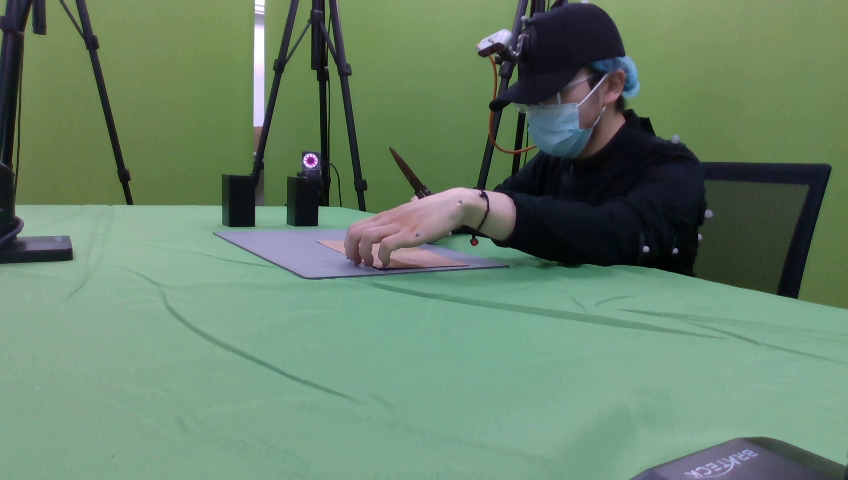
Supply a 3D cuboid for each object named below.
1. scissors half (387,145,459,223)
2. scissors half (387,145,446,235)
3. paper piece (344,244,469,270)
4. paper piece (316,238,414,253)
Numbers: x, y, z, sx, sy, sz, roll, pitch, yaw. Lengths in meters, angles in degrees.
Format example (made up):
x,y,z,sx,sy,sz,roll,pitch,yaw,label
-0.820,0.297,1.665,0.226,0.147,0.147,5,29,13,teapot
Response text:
x,y,z,sx,sy,sz,roll,pitch,yaw,label
-0.001,-0.095,1.010,0.176,0.040,0.013,44,-13,-21,scissors half
-0.016,-0.082,1.005,0.040,0.175,0.012,-33,17,-13,scissors half
-0.027,0.024,0.848,0.137,0.008,0.137,-5,12,-26,paper piece
-0.088,0.006,0.964,0.136,0.004,0.135,-2,8,-27,paper piece
